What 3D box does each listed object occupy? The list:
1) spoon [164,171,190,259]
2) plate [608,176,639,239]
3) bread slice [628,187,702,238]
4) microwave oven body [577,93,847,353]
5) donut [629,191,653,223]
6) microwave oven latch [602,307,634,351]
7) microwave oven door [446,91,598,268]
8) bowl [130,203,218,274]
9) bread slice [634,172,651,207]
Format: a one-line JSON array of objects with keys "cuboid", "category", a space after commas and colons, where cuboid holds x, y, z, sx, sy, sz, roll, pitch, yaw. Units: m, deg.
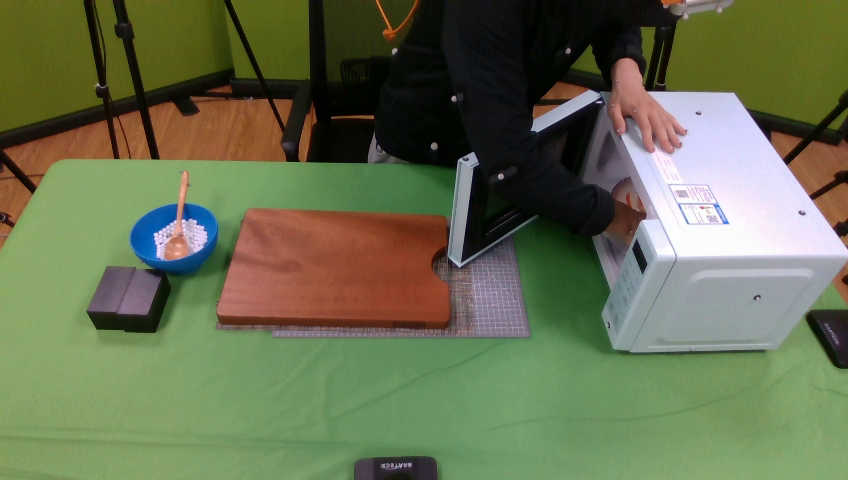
[{"cuboid": [-0.452, -0.046, 1.129, 0.041, 0.022, 0.193, -1, 69, -3], "category": "spoon"}, {"cuboid": [0.464, -0.051, 1.187, 0.208, 0.039, 0.206, 0, 46, 1], "category": "plate"}, {"cuboid": [0.477, -0.055, 1.190, 0.131, 0.019, 0.104, 22, 47, 15], "category": "bread slice"}, {"cuboid": [0.475, -0.041, 1.109, 0.326, 0.261, 0.438, -1, 45, -4], "category": "microwave oven body"}, {"cuboid": [0.444, -0.060, 1.164, 0.099, 0.048, 0.098, 0, 49, 0], "category": "donut"}, {"cuboid": [0.332, 0.153, 1.044, 0.030, 0.029, 0.078, 0, 45, -4], "category": "microwave oven latch"}, {"cuboid": [0.191, -0.120, 1.157, 0.356, 0.245, 0.039, -31, 55, -30], "category": "microwave oven door"}, {"cuboid": [-0.451, 0.009, 1.116, 0.151, 0.077, 0.150, 3, 45, -3], "category": "bowl"}, {"cuboid": [0.463, -0.087, 1.137, 0.134, 0.018, 0.106, 11, 42, -8], "category": "bread slice"}]
